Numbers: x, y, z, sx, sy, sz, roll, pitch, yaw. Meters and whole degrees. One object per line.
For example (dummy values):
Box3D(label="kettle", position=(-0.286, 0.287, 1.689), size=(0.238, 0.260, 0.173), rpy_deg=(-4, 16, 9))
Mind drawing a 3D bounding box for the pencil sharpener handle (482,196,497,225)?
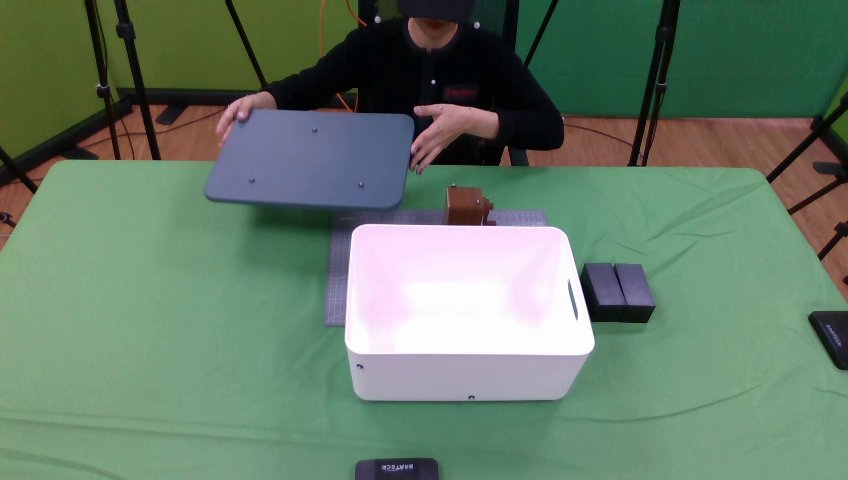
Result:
Box3D(label="pencil sharpener handle", position=(0.130, -0.056, 1.182), size=(0.031, 0.068, 0.036), rpy_deg=(1, 43, -3))

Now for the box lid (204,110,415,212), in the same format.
Box3D(label="box lid", position=(-0.209, -0.159, 1.165), size=(0.371, 0.015, 0.261), rpy_deg=(3, 51, 5))

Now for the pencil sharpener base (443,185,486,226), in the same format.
Box3D(label="pencil sharpener base", position=(0.078, -0.049, 1.188), size=(0.077, 0.107, 0.061), rpy_deg=(2, 46, -3))

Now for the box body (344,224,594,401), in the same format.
Box3D(label="box body", position=(0.060, 0.120, 0.988), size=(0.364, 0.161, 0.252), rpy_deg=(1, 47, -4))
